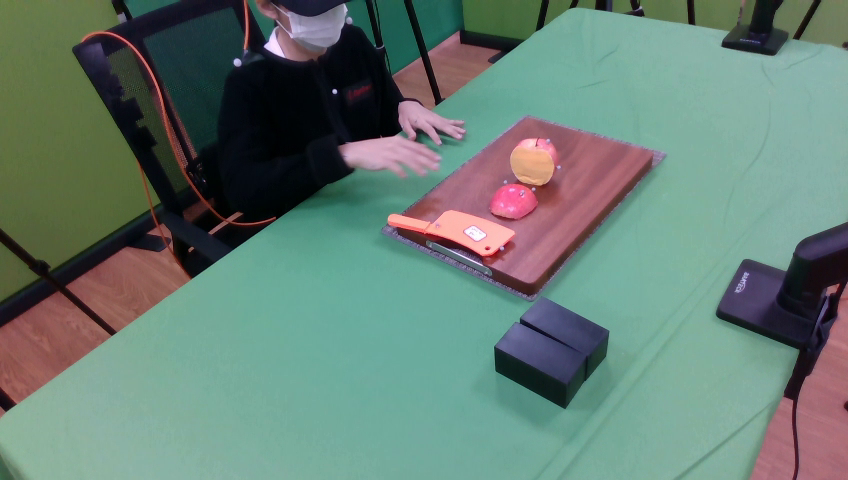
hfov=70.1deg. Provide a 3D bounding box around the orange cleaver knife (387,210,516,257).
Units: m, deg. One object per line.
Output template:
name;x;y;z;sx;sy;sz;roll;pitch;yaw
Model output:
orange cleaver knife;0.040;-0.020;0.953;0.210;0.012;0.077;16;48;29

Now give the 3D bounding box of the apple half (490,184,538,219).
apple half;0.145;-0.069;0.983;0.081;0.033;0.081;-4;38;3

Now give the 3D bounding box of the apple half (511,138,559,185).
apple half;0.192;-0.137;1.024;0.080;0.075;0.053;11;40;28
